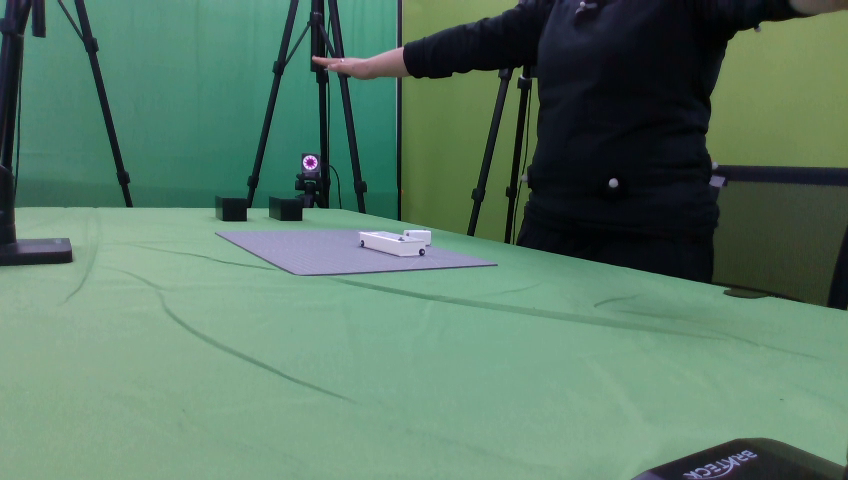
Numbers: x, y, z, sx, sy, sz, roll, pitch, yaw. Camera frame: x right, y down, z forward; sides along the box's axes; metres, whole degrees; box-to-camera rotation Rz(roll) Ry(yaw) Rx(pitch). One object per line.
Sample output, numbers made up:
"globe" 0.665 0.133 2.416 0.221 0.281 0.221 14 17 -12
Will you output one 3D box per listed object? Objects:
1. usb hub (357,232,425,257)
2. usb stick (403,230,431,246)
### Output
"usb hub" -0.055 0.005 0.947 0.050 0.025 0.124 -3 9 -36
"usb stick" -0.019 -0.003 1.020 0.059 0.027 0.021 -6 15 -34
